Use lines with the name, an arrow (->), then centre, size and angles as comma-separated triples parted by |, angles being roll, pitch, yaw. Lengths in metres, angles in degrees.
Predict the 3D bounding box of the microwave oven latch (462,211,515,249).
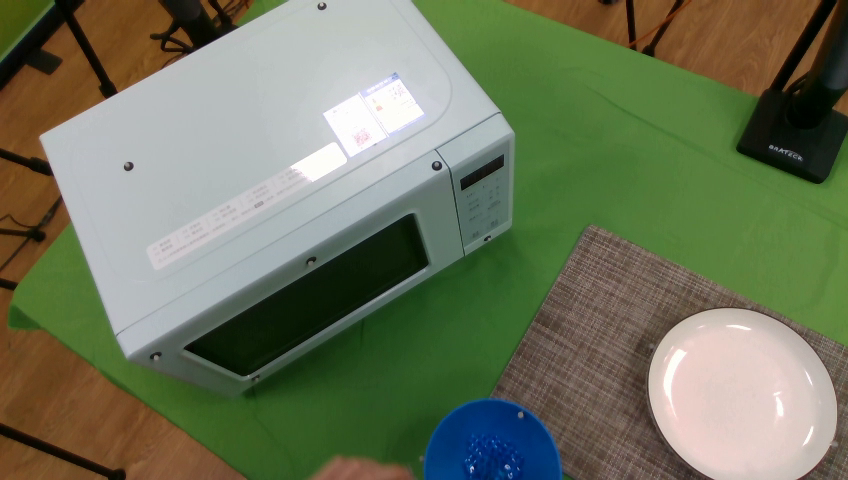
microwave oven latch -> 0.083, -0.021, 0.807 | 0.079, 0.030, 0.030 | -30, 68, -5

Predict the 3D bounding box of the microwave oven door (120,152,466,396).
microwave oven door -> -0.118, 0.052, 0.691 | 0.356, 0.246, 0.039 | -31, 66, -6

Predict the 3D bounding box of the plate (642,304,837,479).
plate -> 0.360, 0.178, 0.706 | 0.207, 0.039, 0.206 | -2, 68, 6

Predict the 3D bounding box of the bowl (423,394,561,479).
bowl -> 0.078, 0.258, 0.691 | 0.151, 0.077, 0.150 | -3, 67, 7

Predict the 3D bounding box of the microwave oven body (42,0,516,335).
microwave oven body -> -0.156, -0.080, 0.755 | 0.442, 0.262, 0.323 | -31, 68, -5
